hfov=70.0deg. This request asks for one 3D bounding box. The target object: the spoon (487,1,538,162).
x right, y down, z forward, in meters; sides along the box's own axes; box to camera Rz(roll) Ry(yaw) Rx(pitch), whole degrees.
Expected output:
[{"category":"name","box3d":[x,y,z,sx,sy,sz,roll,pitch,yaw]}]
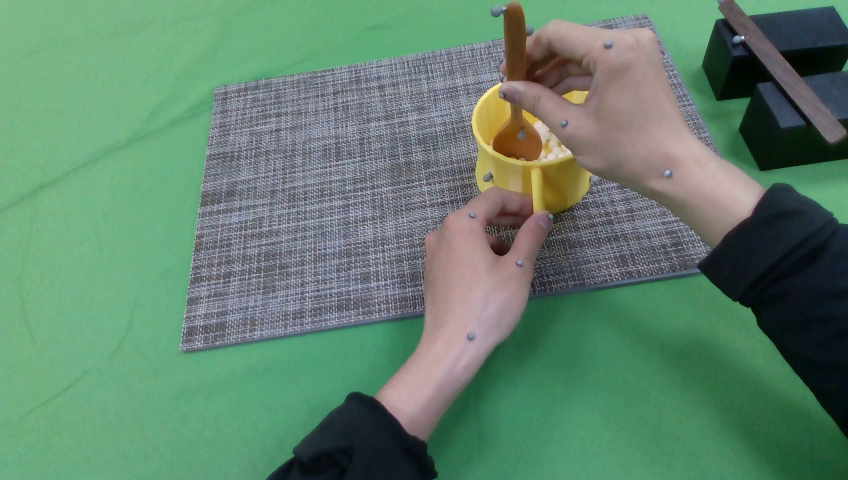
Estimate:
[{"category":"spoon","box3d":[0.062,-0.099,0.426,0.041,0.195,0.021,5,76,10]}]

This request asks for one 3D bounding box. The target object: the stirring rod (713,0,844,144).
[{"category":"stirring rod","box3d":[0.279,-0.142,0.485,0.014,0.006,0.174,-36,51,27]}]

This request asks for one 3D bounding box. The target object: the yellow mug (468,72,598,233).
[{"category":"yellow mug","box3d":[0.087,-0.066,0.485,0.100,0.064,0.129,-3,57,7]}]
